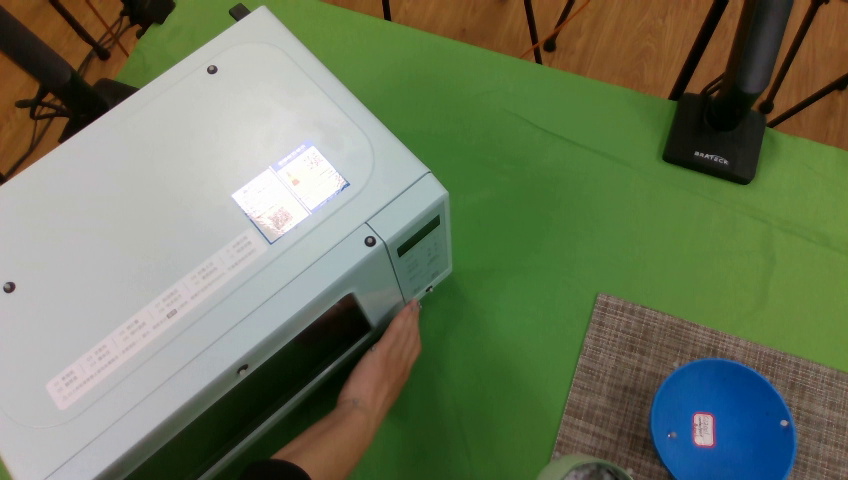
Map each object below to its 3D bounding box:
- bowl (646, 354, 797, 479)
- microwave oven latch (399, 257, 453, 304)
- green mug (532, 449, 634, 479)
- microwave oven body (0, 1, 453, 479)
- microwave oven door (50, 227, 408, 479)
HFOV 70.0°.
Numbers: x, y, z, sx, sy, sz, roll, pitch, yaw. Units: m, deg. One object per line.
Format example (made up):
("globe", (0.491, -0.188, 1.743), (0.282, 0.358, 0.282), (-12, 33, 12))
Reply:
("bowl", (0.315, 0.208, 0.673), (0.151, 0.077, 0.150), (-1, 69, 3))
("microwave oven latch", (0.001, 0.044, 0.758), (0.079, 0.030, 0.030), (-38, 72, -10))
("green mug", (0.160, 0.253, 0.559), (0.092, 0.105, 0.124), (-42, 75, -13))
("microwave oven body", (-0.236, 0.019, 0.677), (0.441, 0.262, 0.324), (-40, 73, -11))
("microwave oven door", (-0.172, 0.144, 0.621), (0.355, 0.245, 0.039), (-40, 71, -11))
